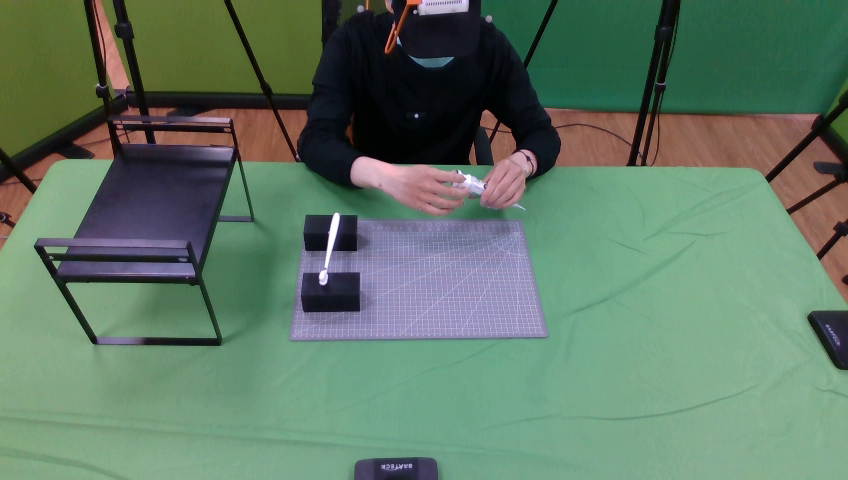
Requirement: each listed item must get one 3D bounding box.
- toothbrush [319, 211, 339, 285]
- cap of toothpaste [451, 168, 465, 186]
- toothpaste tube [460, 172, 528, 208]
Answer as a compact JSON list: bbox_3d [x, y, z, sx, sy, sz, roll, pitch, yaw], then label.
[{"bbox_3d":[-0.172,0.009,1.102,0.014,0.017,0.180,-7,44,10],"label":"toothbrush"},{"bbox_3d":[0.065,-0.119,1.152,0.011,0.037,0.037,17,39,-31],"label":"cap of toothpaste"},{"bbox_3d":[0.131,-0.096,1.190,0.166,0.034,0.054,18,16,-30],"label":"toothpaste tube"}]
